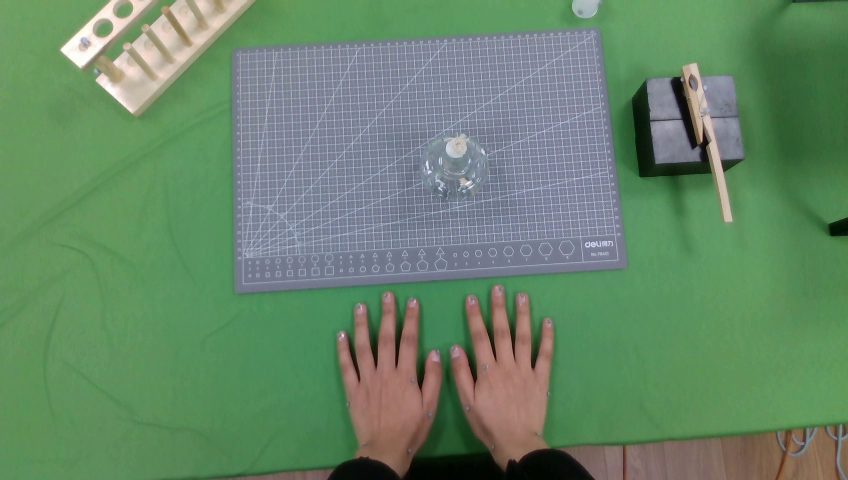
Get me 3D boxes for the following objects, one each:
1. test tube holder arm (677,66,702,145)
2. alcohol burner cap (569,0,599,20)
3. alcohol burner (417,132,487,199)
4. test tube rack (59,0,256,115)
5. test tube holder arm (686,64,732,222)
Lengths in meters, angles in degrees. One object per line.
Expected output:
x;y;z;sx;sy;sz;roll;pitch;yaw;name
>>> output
0.296;-0.149;0.671;0.010;0.015;0.087;-13;84;15;test tube holder arm
0.198;-0.293;0.735;0.034;0.048;0.033;0;79;0;alcohol burner cap
0.032;-0.086;0.658;0.078;0.119;0.077;0;78;-1;alcohol burner
-0.289;-0.266;0.704;0.066;0.085;0.242;41;82;7;test tube rack
0.311;-0.106;0.665;0.013;0.015;0.178;-15;84;15;test tube holder arm
